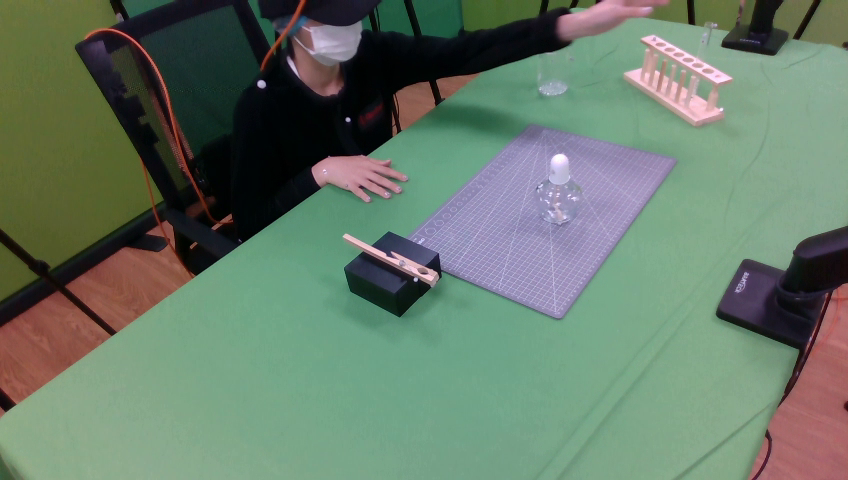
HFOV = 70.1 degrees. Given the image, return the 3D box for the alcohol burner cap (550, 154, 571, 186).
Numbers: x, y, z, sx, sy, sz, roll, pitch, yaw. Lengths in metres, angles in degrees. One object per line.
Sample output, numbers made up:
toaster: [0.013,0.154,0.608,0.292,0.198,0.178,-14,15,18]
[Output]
alcohol burner cap: [0.212,-0.112,0.944,0.034,0.048,0.033,-6,44,7]

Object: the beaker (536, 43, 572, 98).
beaker: [0.281,-0.368,1.311,0.074,0.101,0.084,4,40,14]

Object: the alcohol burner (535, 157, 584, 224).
alcohol burner: [0.217,-0.085,0.967,0.078,0.119,0.077,-3,41,3]

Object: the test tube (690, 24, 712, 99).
test tube: [0.534,-0.344,1.174,0.017,0.151,0.017,-2,39,2]

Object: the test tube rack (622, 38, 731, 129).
test tube rack: [0.506,-0.325,1.234,0.067,0.085,0.240,-18,41,-11]

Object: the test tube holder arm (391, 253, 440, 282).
test tube holder arm: [-0.015,0.039,0.858,0.087,0.015,0.010,23,57,32]

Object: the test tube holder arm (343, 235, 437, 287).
test tube holder arm: [-0.053,0.028,0.879,0.177,0.015,0.013,22,57,32]
